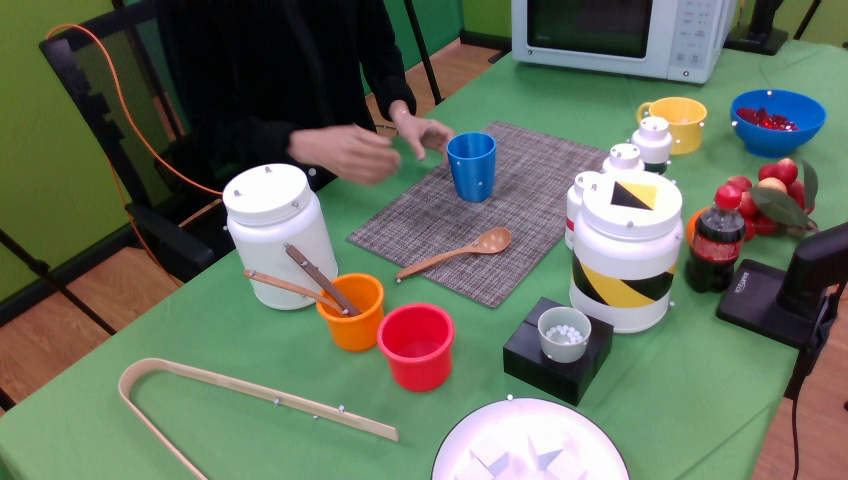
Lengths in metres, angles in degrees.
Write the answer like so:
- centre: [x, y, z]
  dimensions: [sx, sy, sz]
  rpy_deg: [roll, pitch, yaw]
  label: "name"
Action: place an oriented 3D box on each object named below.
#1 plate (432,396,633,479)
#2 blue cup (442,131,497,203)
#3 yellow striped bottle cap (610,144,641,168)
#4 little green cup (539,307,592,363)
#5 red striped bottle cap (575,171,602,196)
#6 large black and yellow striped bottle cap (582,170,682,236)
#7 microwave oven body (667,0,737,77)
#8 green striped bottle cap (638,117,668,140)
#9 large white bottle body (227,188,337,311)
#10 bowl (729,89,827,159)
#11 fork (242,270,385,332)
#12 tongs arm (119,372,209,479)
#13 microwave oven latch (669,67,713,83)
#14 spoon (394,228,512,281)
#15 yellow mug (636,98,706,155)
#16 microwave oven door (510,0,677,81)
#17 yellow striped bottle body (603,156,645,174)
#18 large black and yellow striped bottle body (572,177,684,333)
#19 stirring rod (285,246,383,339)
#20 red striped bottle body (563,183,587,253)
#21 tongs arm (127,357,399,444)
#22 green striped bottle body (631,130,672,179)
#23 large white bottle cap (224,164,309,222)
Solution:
- centre: [0.112, 0.261, 0.634]
  dimensions: [0.209, 0.038, 0.208]
  rpy_deg: [-5, 40, 4]
  label: "plate"
- centre: [0.085, -0.121, 1.039]
  dimensions: [0.092, 0.100, 0.092]
  rpy_deg: [-5, 41, 5]
  label: "blue cup"
- centre: [0.307, -0.128, 0.923]
  dimensions: [0.044, 0.019, 0.044]
  rpy_deg: [-6, 39, 5]
  label: "yellow striped bottle cap"
- centre: [0.168, 0.115, 0.721]
  dimensions: [0.061, 0.039, 0.061]
  rpy_deg: [-4, 42, 4]
  label: "little green cup"
- centre: [0.242, -0.082, 0.876]
  dimensions: [0.044, 0.018, 0.044]
  rpy_deg: [-5, 44, 6]
  label: "red striped bottle cap"
- centre: [0.252, -0.048, 0.735]
  dimensions: [0.115, 0.019, 0.114]
  rpy_deg: [-3, 40, 3]
  label: "large black and yellow striped bottle cap"
- centre: [0.462, -0.552, 1.368]
  dimensions: [0.439, 0.261, 0.326]
  rpy_deg: [15, 45, 26]
  label: "microwave oven body"
- centre: [0.369, -0.180, 0.974]
  dimensions: [0.044, 0.020, 0.044]
  rpy_deg: [-4, 41, 4]
  label: "green striped bottle cap"
- centre: [-0.207, -0.002, 0.883]
  dimensions: [0.130, 0.185, 0.130]
  rpy_deg: [-4, 40, 4]
  label: "large white bottle body"
- centre: [0.615, -0.197, 1.069]
  dimensions: [0.151, 0.077, 0.150]
  rpy_deg: [-5, 40, 5]
  label: "bowl"
- centre: [-0.142, 0.082, 0.802]
  dimensions: [0.209, 0.018, 0.028]
  rpy_deg: [28, 38, -26]
  label: "fork"
- centre: [-0.258, 0.257, 0.700]
  dimensions: [0.384, 0.028, 0.028]
  rpy_deg: [24, 55, 34]
  label: "tongs arm"
- centre: [0.556, -0.349, 1.261]
  dimensions: [0.078, 0.029, 0.030]
  rpy_deg: [16, 46, 27]
  label: "microwave oven latch"
- centre: [0.045, 0.024, 0.935]
  dimensions: [0.194, 0.022, 0.041]
  rpy_deg: [-18, 66, -11]
  label: "spoon"
- centre: [0.453, -0.217, 1.128]
  dimensions: [0.100, 0.064, 0.129]
  rpy_deg: [-34, 46, -27]
  label: "yellow mug"
- centre: [0.354, -0.478, 1.290]
  dimensions: [0.353, 0.245, 0.039]
  rpy_deg: [15, 45, 25]
  label: "microwave oven door"
- centre: [0.313, -0.089, 0.956]
  dimensions: [0.063, 0.121, 0.062]
  rpy_deg: [-4, 40, 4]
  label: "yellow striped bottle body"
- centre: [0.262, 0.017, 0.788]
  dimensions: [0.131, 0.185, 0.130]
  rpy_deg: [-5, 40, 4]
  label: "large black and yellow striped bottle body"
- centre: [-0.121, 0.071, 0.819]
  dimensions: [0.176, 0.006, 0.014]
  rpy_deg: [44, 52, -6]
  label: "stirring rod"
- centre: [0.246, -0.041, 0.910]
  dimensions: [0.063, 0.120, 0.062]
  rpy_deg: [-2, 38, 2]
  label: "red striped bottle body"
- centre: [-0.213, 0.205, 0.755]
  dimensions: [0.382, 0.026, 0.051]
  rpy_deg: [12, 45, 23]
  label: "tongs arm"
- centre: [0.375, -0.140, 1.007]
  dimensions: [0.063, 0.120, 0.063]
  rpy_deg: [-5, 40, 4]
  label: "green striped bottle body"
- centre: [-0.215, -0.066, 0.829]
  dimensions: [0.115, 0.018, 0.114]
  rpy_deg: [-4, 40, 4]
  label: "large white bottle cap"
